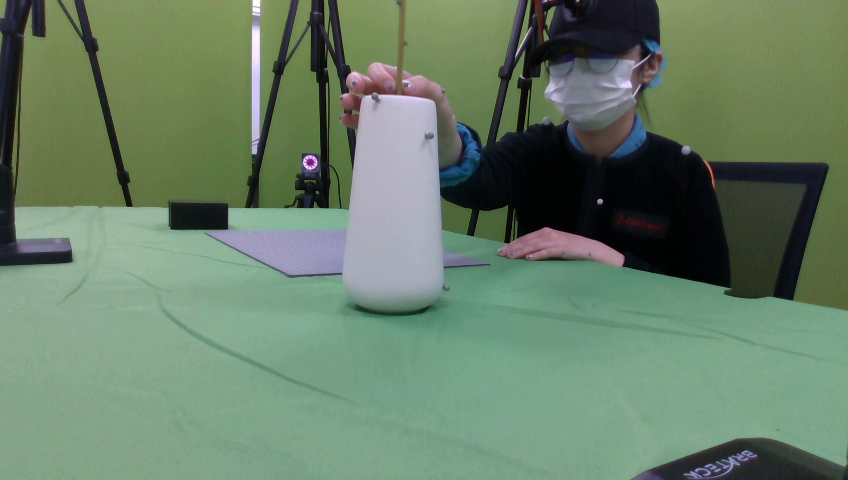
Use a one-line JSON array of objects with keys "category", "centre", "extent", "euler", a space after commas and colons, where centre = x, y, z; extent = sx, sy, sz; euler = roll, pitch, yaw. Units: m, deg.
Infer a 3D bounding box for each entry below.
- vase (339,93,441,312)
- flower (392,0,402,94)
[{"category": "vase", "centre": [-0.032, -0.035, 0.577], "extent": [0.098, 0.200, 0.098], "euler": [1, 7, 0]}, {"category": "flower", "centre": [-0.026, -0.120, 0.566], "extent": [0.038, 0.361, 0.044], "euler": [15, 20, 35]}]
